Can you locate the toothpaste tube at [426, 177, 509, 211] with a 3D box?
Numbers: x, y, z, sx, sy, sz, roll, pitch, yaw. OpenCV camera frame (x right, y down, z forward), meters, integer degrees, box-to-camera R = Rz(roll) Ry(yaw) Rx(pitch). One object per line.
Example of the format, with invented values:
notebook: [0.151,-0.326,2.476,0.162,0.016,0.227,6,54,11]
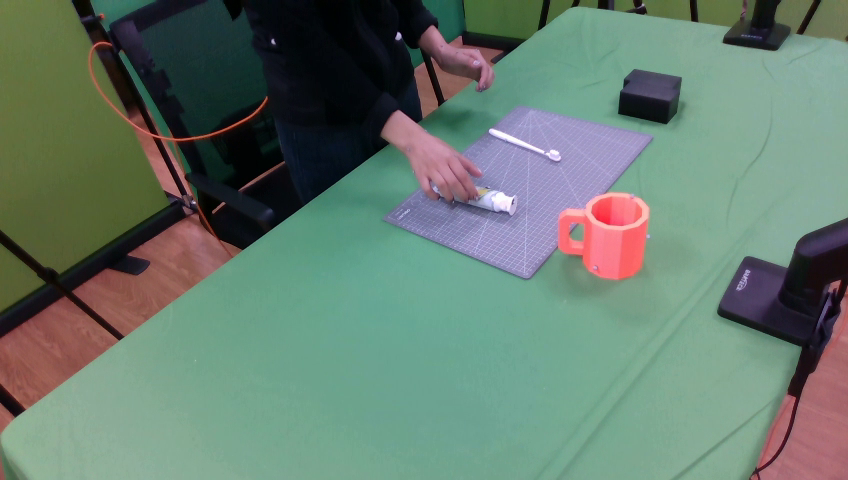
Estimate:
toothpaste tube: [0.083,-0.082,1.054,0.164,0.034,0.055,18,40,34]

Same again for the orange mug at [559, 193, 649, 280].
orange mug: [0.261,-0.008,0.884,0.126,0.101,0.083,9,43,14]

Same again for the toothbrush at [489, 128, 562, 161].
toothbrush: [0.191,-0.189,1.167,0.014,0.017,0.180,-44,48,-17]

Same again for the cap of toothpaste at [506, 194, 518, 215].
cap of toothpaste: [0.146,-0.060,1.007,0.011,0.037,0.037,14,46,22]
